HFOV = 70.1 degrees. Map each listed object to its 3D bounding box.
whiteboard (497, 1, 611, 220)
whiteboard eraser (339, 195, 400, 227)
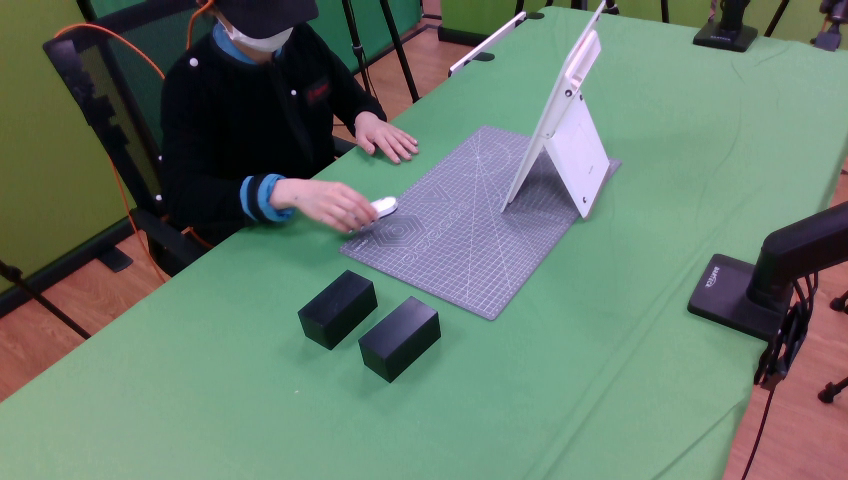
[{"bbox_3d":[0.259,-0.177,0.963,0.143,0.306,0.217,28,48,9],"label":"whiteboard"},{"bbox_3d":[-0.089,-0.047,0.983,0.101,0.019,0.041,-21,28,-6],"label":"whiteboard eraser"}]
